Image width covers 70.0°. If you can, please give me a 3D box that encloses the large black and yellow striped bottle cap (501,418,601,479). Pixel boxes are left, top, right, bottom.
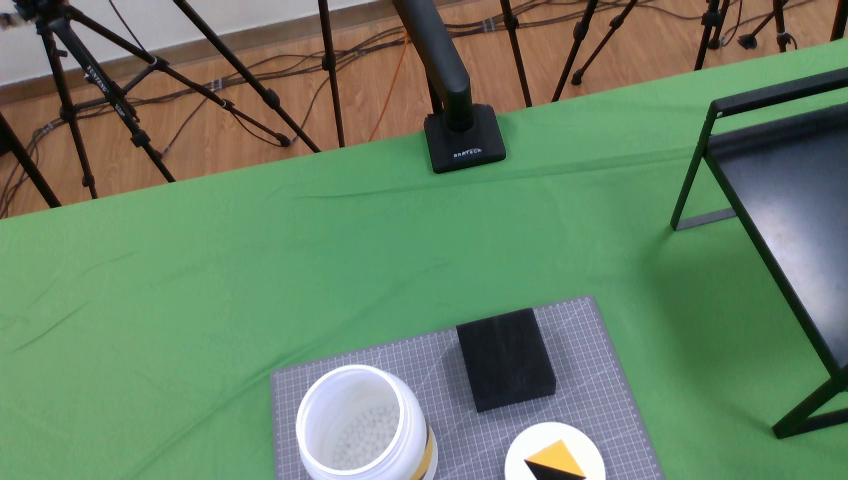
[{"bbox_3d":[0.147,0.264,0.704,0.115,0.019,0.114,-3,57,6],"label":"large black and yellow striped bottle cap"}]

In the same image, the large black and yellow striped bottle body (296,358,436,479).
[{"bbox_3d":[-0.061,0.213,0.667,0.130,0.186,0.129,-4,58,7],"label":"large black and yellow striped bottle body"}]
